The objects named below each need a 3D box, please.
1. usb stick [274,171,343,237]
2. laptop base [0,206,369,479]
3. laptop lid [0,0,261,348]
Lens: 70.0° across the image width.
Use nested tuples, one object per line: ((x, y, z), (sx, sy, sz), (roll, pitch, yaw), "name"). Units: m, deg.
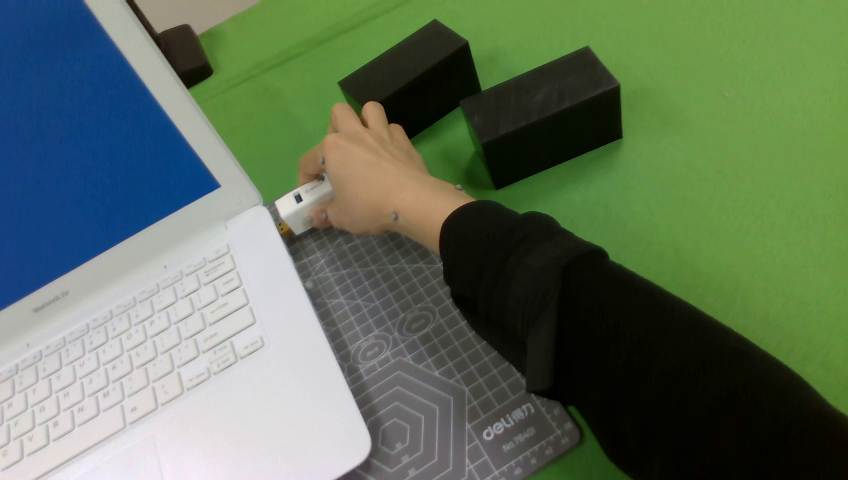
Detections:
((-0.093, -0.024, 0.457), (0.059, 0.027, 0.021), (-34, 49, 2), "usb stick")
((-0.227, 0.136, 0.403), (0.354, 0.023, 0.233), (-31, 54, -5), "laptop base")
((-0.322, -0.026, 0.407), (0.357, 0.244, 0.013), (-32, 36, -4), "laptop lid")
